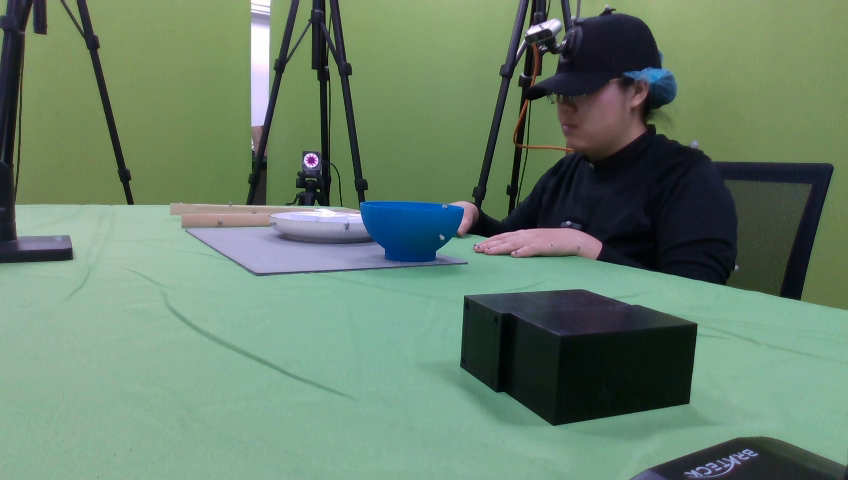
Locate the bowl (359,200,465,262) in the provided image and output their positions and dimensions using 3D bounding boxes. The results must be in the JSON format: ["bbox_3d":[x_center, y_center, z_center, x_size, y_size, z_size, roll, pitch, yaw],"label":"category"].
[{"bbox_3d":[-0.018,-0.013,0.859,0.151,0.077,0.151,2,7,0],"label":"bowl"}]

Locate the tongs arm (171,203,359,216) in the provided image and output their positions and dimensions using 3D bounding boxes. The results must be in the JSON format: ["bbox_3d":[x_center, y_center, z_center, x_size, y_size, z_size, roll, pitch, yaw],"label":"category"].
[{"bbox_3d":[-0.331,-0.058,1.295,0.387,0.026,0.050,0,8,-25],"label":"tongs arm"}]

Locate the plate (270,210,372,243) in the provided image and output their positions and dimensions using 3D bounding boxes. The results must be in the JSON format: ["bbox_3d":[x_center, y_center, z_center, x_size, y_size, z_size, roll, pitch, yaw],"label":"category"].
[{"bbox_3d":[-0.161,-0.023,1.054,0.208,0.039,0.207,2,7,0],"label":"plate"}]

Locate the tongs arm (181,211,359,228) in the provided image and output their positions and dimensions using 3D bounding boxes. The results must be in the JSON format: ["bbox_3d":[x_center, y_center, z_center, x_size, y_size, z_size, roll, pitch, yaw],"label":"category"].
[{"bbox_3d":[-0.291,-0.043,1.225,0.390,0.028,0.028,-3,7,-38],"label":"tongs arm"}]
